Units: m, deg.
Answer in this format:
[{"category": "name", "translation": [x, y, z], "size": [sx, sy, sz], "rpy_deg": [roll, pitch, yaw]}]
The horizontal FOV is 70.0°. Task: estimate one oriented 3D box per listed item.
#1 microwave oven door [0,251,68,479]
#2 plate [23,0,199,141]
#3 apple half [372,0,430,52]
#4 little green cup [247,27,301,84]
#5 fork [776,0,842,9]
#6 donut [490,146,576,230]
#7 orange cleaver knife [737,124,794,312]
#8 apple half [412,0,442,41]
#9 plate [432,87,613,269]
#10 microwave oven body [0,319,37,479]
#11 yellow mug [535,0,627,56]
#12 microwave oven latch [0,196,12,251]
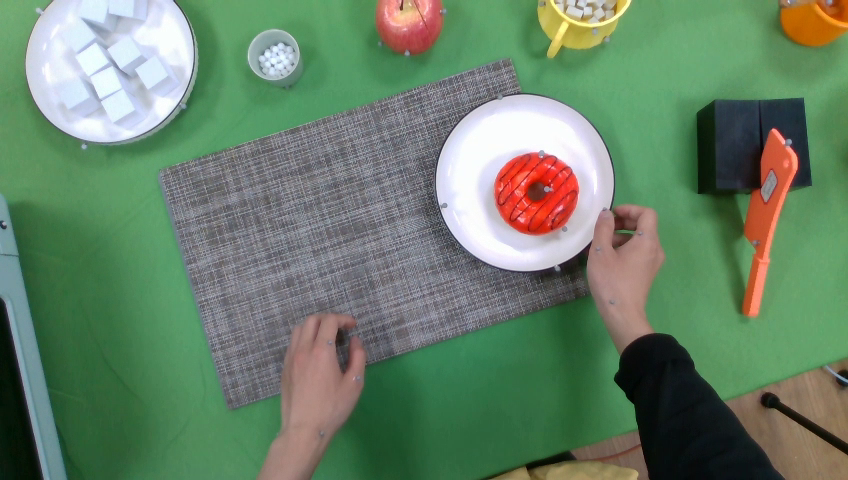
[{"category": "microwave oven door", "translation": [-0.458, 0.180, 0.593], "size": [0.039, 0.244, 0.355], "rpy_deg": [-15, 86, 1]}, {"category": "plate", "translation": [-0.372, -0.219, 0.734], "size": [0.207, 0.039, 0.207], "rpy_deg": [0, 86, 2]}, {"category": "apple half", "translation": [-0.032, -0.257, 0.711], "size": [0.053, 0.074, 0.081], "rpy_deg": [-27, 90, 4]}, {"category": "little green cup", "translation": [-0.178, -0.219, 0.729], "size": [0.061, 0.039, 0.061], "rpy_deg": [0, 86, 2]}, {"category": "fork", "translation": [0.421, -0.265, 0.660], "size": [0.208, 0.018, 0.028], "rpy_deg": [-20, 85, -43]}, {"category": "donut", "translation": [0.125, -0.060, 0.696], "size": [0.099, 0.048, 0.099], "rpy_deg": [0, 88, 3]}, {"category": "orange cleaver knife", "translation": [0.375, -0.021, 0.681], "size": [0.012, 0.076, 0.213], "rpy_deg": [2, 116, 5]}, {"category": "apple half", "translation": [0.003, -0.275, 0.709], "size": [0.033, 0.081, 0.081], "rpy_deg": [-27, 85, 5]}, {"category": "plate", "translation": [0.113, -0.070, 0.708], "size": [0.209, 0.038, 0.208], "rpy_deg": [0, 86, 2]}, {"category": "microwave oven body", "translation": [-0.610, 0.177, 0.602], "size": [0.326, 0.260, 0.441], "rpy_deg": [-15, 87, 0]}, {"category": "yellow mug", "translation": [0.176, -0.274, 0.709], "size": [0.100, 0.064, 0.131], "rpy_deg": [30, 89, 3]}, {"category": "microwave oven latch", "translation": [-0.510, -0.025, 0.707], "size": [0.030, 0.029, 0.079], "rpy_deg": [-13, 87, 0]}]
